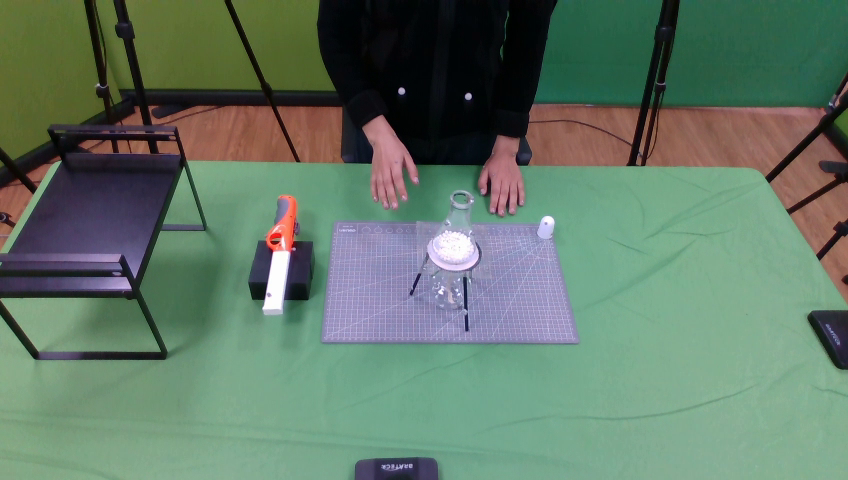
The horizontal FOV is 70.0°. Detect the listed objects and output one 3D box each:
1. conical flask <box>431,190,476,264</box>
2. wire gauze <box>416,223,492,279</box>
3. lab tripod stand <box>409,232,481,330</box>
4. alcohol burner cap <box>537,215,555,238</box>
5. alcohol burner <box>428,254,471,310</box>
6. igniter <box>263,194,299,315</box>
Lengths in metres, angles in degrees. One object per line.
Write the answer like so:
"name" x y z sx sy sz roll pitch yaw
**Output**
"conical flask" 0.052 -0.025 0.971 0.075 0.122 0.075 3 48 -3
"wire gauze" 0.048 0.016 1.014 0.125 0.011 0.120 1 45 -1
"lab tripod stand" 0.051 0.064 1.060 0.148 0.132 0.147 4 46 -4
"alcohol burner cap" 0.249 -0.029 1.228 0.034 0.048 0.033 1 48 -1
"alcohol burner" 0.046 0.068 1.069 0.078 0.119 0.077 3 45 -3
"igniter" -0.259 0.016 1.093 0.057 0.025 0.274 -3 49 -2
